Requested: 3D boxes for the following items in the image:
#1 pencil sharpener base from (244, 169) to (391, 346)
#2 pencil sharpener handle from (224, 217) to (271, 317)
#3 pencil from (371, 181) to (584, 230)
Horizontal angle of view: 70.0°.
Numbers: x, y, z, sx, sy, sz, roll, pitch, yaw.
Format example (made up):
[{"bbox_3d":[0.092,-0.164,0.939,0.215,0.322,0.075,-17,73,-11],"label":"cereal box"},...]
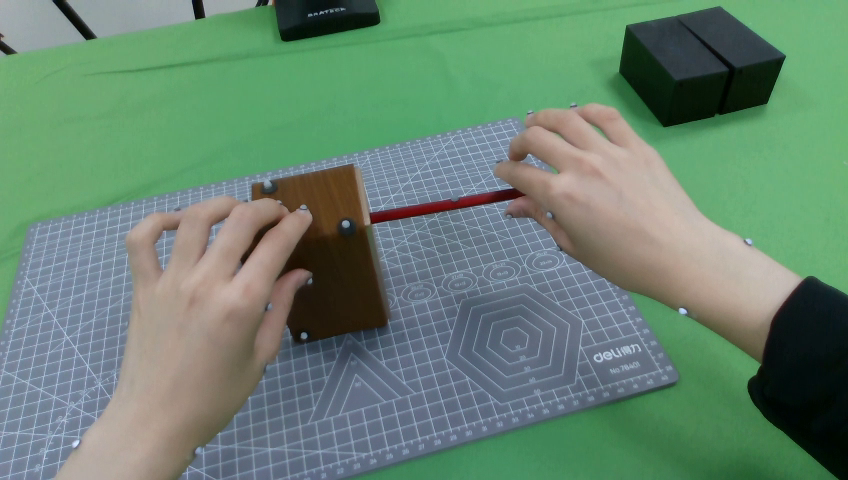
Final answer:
[{"bbox_3d":[-0.069,0.015,0.407,0.077,0.108,0.060,-12,47,-4],"label":"pencil sharpener base"},{"bbox_3d":[-0.119,0.020,0.390,0.031,0.068,0.035,-12,28,-4],"label":"pencil sharpener handle"},{"bbox_3d":[0.011,-0.018,0.395,0.194,0.012,0.012,-10,47,-4],"label":"pencil"}]
